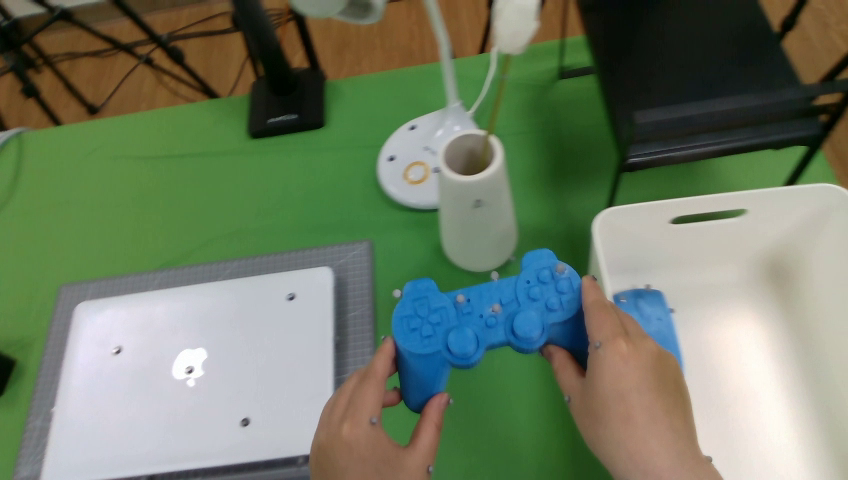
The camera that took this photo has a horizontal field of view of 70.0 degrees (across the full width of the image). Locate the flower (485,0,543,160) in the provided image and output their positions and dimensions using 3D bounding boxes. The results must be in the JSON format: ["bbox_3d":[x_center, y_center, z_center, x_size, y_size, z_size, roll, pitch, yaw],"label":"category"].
[{"bbox_3d":[0.071,-0.099,0.647,0.038,0.364,0.043,-11,49,-17],"label":"flower"}]

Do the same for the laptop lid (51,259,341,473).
[{"bbox_3d":[-0.277,0.149,0.750,0.356,0.013,0.239,-6,63,5],"label":"laptop lid"}]

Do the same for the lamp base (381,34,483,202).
[{"bbox_3d":[0.014,-0.169,0.801,0.159,0.182,0.178,24,65,20],"label":"lamp base"}]

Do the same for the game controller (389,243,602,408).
[{"bbox_3d":[0.049,0.060,0.450,0.155,0.052,0.096,-13,70,0],"label":"game controller"}]

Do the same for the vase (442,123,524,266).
[{"bbox_3d":[0.067,-0.049,0.716,0.098,0.202,0.097,-5,60,8],"label":"vase"}]

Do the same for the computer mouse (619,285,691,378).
[{"bbox_3d":[0.260,0.100,0.690,0.063,0.041,0.116,-7,53,8],"label":"computer mouse"}]

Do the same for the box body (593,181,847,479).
[{"bbox_3d":[0.320,0.144,0.592,0.254,0.162,0.360,-6,61,6],"label":"box body"}]

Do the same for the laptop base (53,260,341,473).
[{"bbox_3d":[-0.276,0.152,0.761,0.354,0.023,0.233,-8,64,4],"label":"laptop base"}]

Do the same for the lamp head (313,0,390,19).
[{"bbox_3d":[-0.063,-0.270,0.523,0.112,0.113,0.122,20,84,19],"label":"lamp head"}]

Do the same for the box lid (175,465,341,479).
[{"bbox_3d":[-0.265,0.388,0.636,0.371,0.015,0.261,-8,61,4],"label":"box lid"}]
